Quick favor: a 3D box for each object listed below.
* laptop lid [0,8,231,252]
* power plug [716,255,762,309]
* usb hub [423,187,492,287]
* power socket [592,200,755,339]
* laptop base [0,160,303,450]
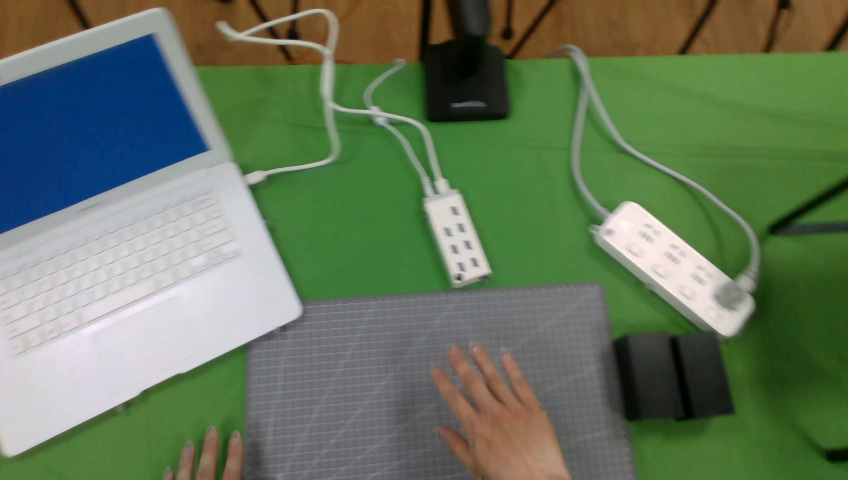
[{"bbox_3d":[-0.415,-0.100,0.667,0.357,0.244,0.013,-26,59,-11],"label":"laptop lid"},{"bbox_3d":[0.400,0.058,0.764,0.072,0.053,0.035,-33,75,-17],"label":"power plug"},{"bbox_3d":[0.041,-0.005,0.784,0.049,0.025,0.124,-18,73,-9],"label":"usb hub"},{"bbox_3d":[0.324,0.037,0.786,0.226,0.033,0.072,42,73,11],"label":"power socket"},{"bbox_3d":[-0.352,0.064,0.735,0.354,0.023,0.234,-26,77,-12],"label":"laptop base"}]
